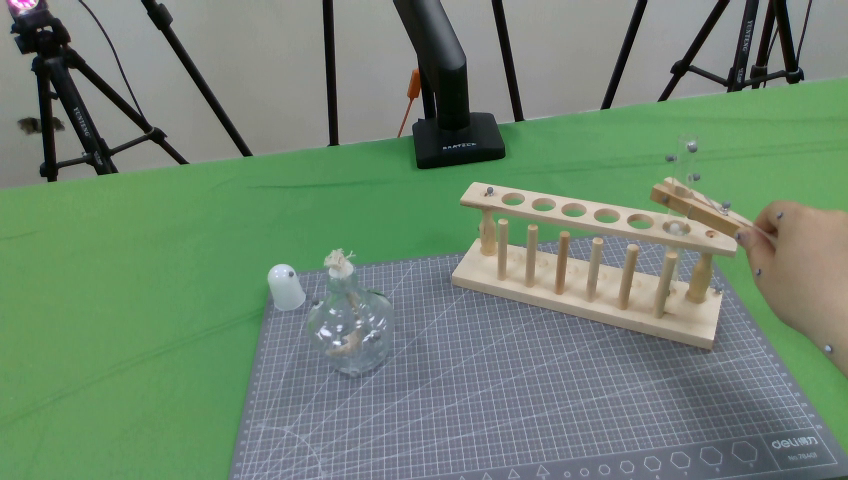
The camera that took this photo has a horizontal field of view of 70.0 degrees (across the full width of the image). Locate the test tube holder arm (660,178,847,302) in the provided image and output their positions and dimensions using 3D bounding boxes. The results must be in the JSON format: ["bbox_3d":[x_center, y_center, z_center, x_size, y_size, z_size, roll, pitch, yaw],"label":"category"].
[{"bbox_3d":[0.251,-0.002,0.460,0.013,0.015,0.176,-25,44,-24],"label":"test tube holder arm"}]

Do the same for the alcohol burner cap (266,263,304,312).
[{"bbox_3d":[-0.141,0.044,0.607,0.034,0.048,0.033,-3,39,3],"label":"alcohol burner cap"}]

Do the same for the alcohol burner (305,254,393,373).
[{"bbox_3d":[-0.066,0.058,0.519,0.078,0.120,0.077,-3,39,3],"label":"alcohol burner"}]

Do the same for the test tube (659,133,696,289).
[{"bbox_3d":[0.213,-0.019,0.512,0.017,0.151,0.017,-6,34,4],"label":"test tube"}]

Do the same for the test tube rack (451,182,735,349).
[{"bbox_3d":[0.144,0.017,0.559,0.241,0.086,0.066,13,42,24],"label":"test tube rack"}]

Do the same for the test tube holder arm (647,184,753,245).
[{"bbox_3d":[0.220,-0.021,0.485,0.010,0.015,0.087,-32,47,-30],"label":"test tube holder arm"}]
